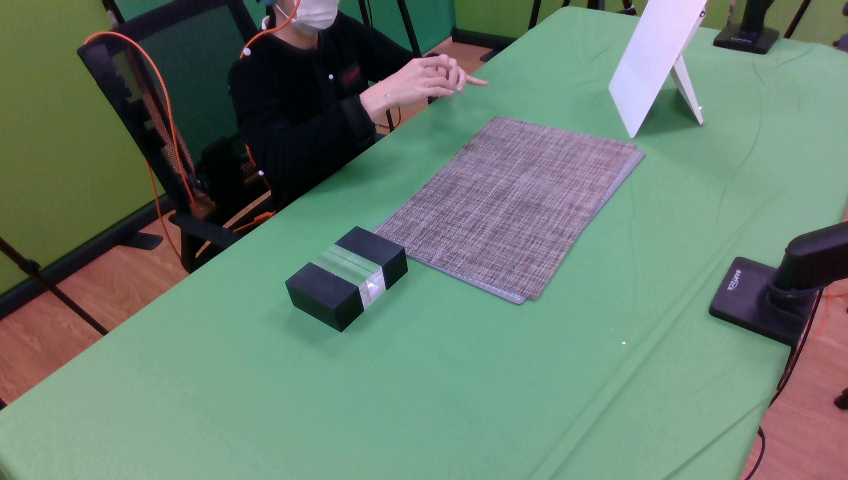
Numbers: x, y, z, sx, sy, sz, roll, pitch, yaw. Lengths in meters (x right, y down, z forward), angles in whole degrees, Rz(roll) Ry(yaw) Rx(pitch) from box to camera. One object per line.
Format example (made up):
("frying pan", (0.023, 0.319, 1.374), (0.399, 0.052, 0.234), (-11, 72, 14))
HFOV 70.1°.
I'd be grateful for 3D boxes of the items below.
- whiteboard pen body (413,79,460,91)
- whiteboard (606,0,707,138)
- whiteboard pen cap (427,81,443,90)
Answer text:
("whiteboard pen body", (0.028, -0.295, 1.151), (0.017, 0.017, 0.142), (26, 23, 33))
("whiteboard", (0.496, -0.359, 1.147), (0.144, 0.305, 0.216), (11, 40, -7))
("whiteboard pen cap", (0.021, -0.305, 1.188), (0.033, 0.018, 0.018), (-10, 34, -42))
